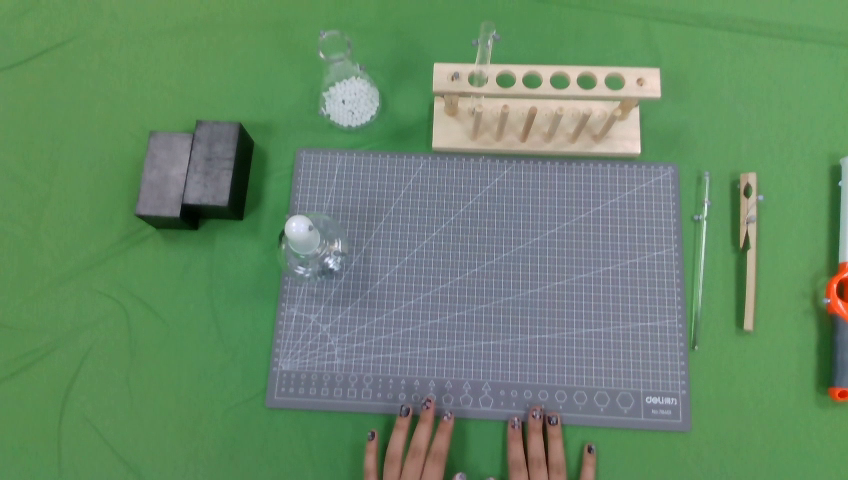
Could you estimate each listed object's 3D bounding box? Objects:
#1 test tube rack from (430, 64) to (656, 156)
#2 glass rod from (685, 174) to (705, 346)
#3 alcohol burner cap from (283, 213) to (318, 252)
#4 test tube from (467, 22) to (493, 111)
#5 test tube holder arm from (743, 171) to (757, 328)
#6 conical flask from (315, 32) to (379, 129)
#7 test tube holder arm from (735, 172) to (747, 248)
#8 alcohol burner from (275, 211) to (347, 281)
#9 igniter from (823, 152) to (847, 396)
[{"bbox_3d":[0.129,-0.146,0.689,0.242,0.085,0.066,2,75,2],"label":"test tube rack"},{"bbox_3d":[0.306,0.020,0.681,0.008,0.008,0.199,9,78,4],"label":"glass rod"},{"bbox_3d":[-0.124,-0.010,0.604,0.034,0.048,0.033,1,71,-3],"label":"alcohol burner cap"},{"bbox_3d":[0.058,-0.180,0.649,0.017,0.151,0.017,0,72,0],"label":"test tube"},{"bbox_3d":[0.363,0.008,0.676,0.013,0.015,0.177,-7,71,38],"label":"test tube holder arm"},{"bbox_3d":[-0.093,-0.184,0.685,0.075,0.122,0.075,0,75,1],"label":"conical flask"},{"bbox_3d":[0.362,-0.035,0.690,0.010,0.015,0.087,-5,72,38],"label":"test tube holder arm"},{"bbox_3d":[-0.123,0.001,0.638,0.078,0.120,0.077,-1,74,4],"label":"alcohol burner"},{"bbox_3d":[0.466,0.034,0.664,0.057,0.025,0.275,13,76,-5],"label":"igniter"}]
